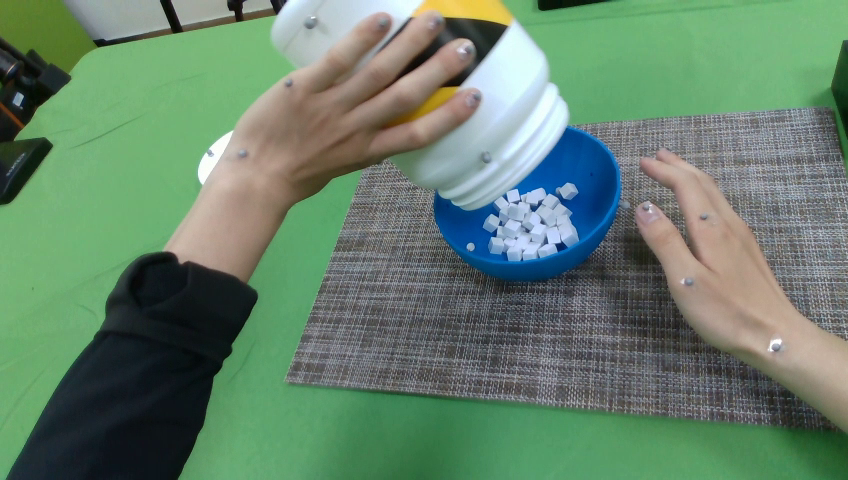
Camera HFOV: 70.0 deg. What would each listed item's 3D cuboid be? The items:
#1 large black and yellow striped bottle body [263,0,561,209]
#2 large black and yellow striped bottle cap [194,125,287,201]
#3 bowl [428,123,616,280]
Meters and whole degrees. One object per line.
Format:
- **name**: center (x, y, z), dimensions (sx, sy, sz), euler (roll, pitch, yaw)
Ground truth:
- **large black and yellow striped bottle body**: center (-0.003, -0.121, 0.429), dimensions (0.131, 0.185, 0.130), euler (-42, 18, 18)
- **large black and yellow striped bottle cap**: center (-0.222, -0.095, 0.732), dimensions (0.115, 0.019, 0.114), euler (-9, 51, 12)
- **bowl**: center (0.085, -0.020, 0.510), dimensions (0.151, 0.077, 0.150), euler (-10, 51, 13)
